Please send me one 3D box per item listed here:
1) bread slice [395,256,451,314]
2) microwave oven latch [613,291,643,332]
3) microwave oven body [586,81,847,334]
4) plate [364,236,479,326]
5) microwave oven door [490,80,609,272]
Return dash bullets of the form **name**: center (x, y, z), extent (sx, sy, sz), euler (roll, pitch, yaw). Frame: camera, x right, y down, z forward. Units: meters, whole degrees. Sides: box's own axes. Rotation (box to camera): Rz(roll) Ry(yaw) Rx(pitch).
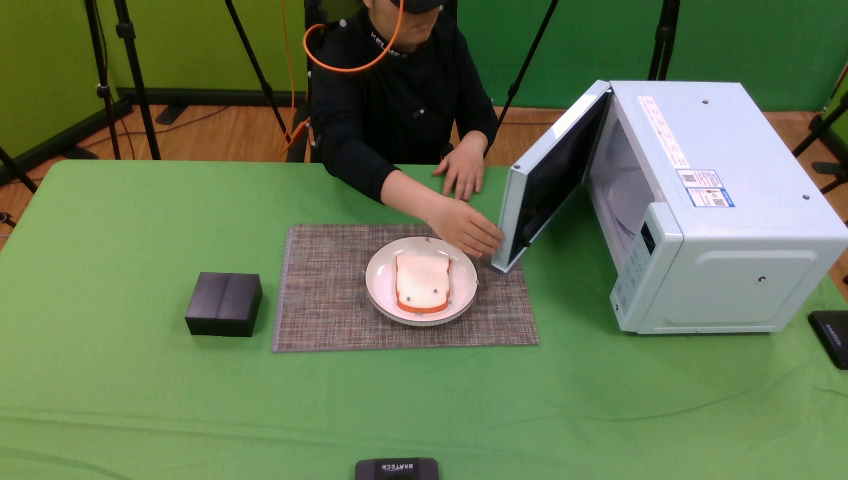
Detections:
- **bread slice**: center (-0.001, 0.079, 1.109), extent (0.105, 0.019, 0.130), euler (1, 45, -2)
- **microwave oven latch**: center (0.357, 0.124, 1.068), extent (0.030, 0.029, 0.078), euler (1, 45, -2)
- **microwave oven body**: center (0.501, -0.070, 1.132), extent (0.326, 0.261, 0.438), euler (-1, 45, -3)
- **plate**: center (-0.004, 0.078, 1.107), extent (0.209, 0.038, 0.208), euler (2, 45, -2)
- **microwave oven door**: center (0.246, -0.130, 1.165), extent (0.039, 0.245, 0.355), euler (29, 51, 22)
